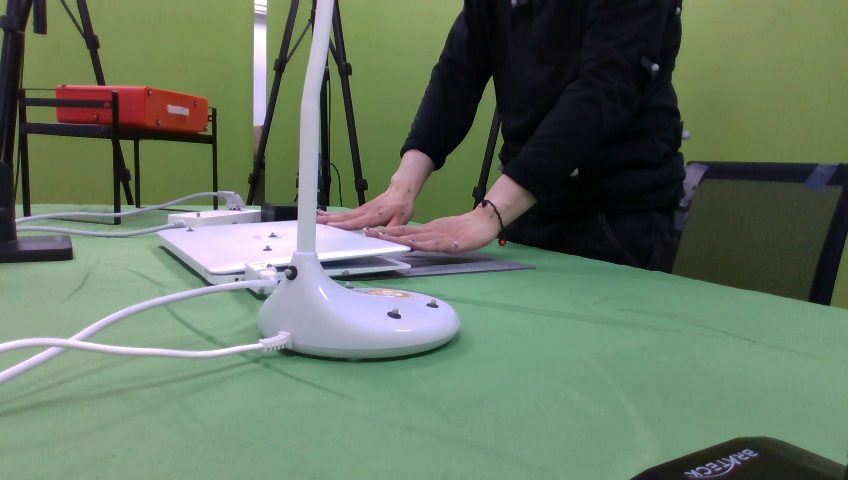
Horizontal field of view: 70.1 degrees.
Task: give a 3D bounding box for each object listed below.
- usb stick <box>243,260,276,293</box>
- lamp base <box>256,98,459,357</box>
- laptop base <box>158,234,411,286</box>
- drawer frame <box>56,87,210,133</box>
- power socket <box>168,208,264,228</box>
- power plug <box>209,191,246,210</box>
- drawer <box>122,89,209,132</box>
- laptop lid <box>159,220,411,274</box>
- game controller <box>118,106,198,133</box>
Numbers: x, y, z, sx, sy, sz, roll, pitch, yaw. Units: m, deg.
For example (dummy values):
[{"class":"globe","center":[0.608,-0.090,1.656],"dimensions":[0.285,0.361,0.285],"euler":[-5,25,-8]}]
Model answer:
[{"class":"usb stick","center":[-0.166,0.035,0.603],"dimensions":[0.021,0.027,0.059],"euler":[-9,8,-29]},{"class":"lamp base","center":[-0.055,-0.013,0.463],"dimensions":[0.160,0.180,0.180],"euler":[6,11,27]},{"class":"laptop base","center":[-0.204,0.019,0.807],"dimensions":[0.237,0.023,0.352],"euler":[0,7,-33]},{"class":"drawer frame","center":[-0.598,-0.269,1.261],"dimensions":[0.213,0.082,0.202],"euler":[4,8,14]},{"class":"power socket","center":[-0.381,-0.038,1.128],"dimensions":[0.072,0.032,0.227],"euler":[4,8,16]},{"class":"power plug","center":[-0.388,-0.071,1.204],"dimensions":[0.072,0.052,0.035],"euler":[4,8,26]},{"class":"drawer","center":[-0.595,-0.268,1.263],"dimensions":[0.211,0.073,0.195],"euler":[4,8,15]},{"class":"laptop lid","center":[-0.202,-0.001,0.804],"dimensions":[0.243,0.013,0.355],"euler":[-5,10,-30]},{"class":"game controller","center":[-0.555,-0.251,1.255],"dimensions":[0.097,0.051,0.155],"euler":[9,12,18]}]
